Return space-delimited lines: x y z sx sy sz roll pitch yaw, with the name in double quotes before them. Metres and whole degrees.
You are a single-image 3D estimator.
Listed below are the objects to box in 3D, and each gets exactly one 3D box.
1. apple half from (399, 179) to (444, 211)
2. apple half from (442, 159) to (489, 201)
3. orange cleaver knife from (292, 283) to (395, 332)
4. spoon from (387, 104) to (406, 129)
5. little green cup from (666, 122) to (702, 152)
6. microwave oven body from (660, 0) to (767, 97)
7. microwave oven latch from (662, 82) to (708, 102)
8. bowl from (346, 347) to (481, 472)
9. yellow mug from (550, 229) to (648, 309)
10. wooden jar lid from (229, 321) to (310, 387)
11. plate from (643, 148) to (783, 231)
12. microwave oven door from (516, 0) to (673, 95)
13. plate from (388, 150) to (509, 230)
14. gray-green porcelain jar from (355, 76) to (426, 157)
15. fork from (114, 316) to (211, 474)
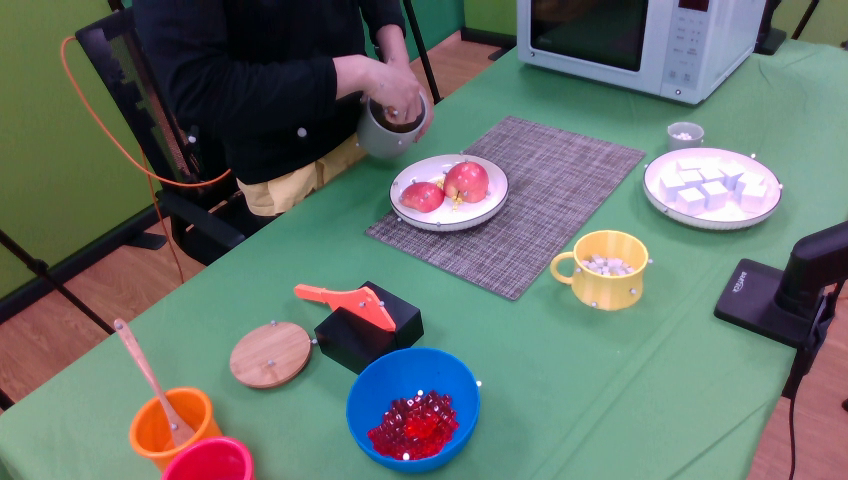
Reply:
"apple half" -0.004 -0.087 1.045 0.081 0.033 0.081 -2 43 2
"apple half" 0.074 -0.110 1.047 0.080 0.053 0.075 21 46 30
"orange cleaver knife" -0.115 0.092 0.835 0.209 0.077 0.012 1 32 48
"spoon" -0.050 -0.214 1.028 0.041 0.193 0.021 44 91 -1
"little green cup" 0.471 -0.184 1.102 0.061 0.039 0.061 -5 41 5
"microwave oven body" 0.473 -0.516 1.313 0.438 0.261 0.327 26 51 34
"microwave oven latch" 0.518 -0.299 1.203 0.078 0.029 0.030 29 53 36
"bowl" -0.008 0.205 0.691 0.151 0.077 0.150 -4 40 4
"yellow mug" 0.245 0.040 0.857 0.130 0.064 0.099 1 42 11
"wooden jar lid" -0.207 0.156 0.820 0.108 0.021 0.108 -3 39 3
"plate" 0.464 -0.080 0.986 0.207 0.039 0.206 -4 41 4
"microwave oven door" 0.344 -0.458 1.256 0.353 0.245 0.039 26 51 33
"plate" 0.043 -0.083 1.042 0.209 0.038 0.208 -4 40 4
"gray-green porcelain jar" -0.063 -0.212 1.071 0.106 0.126 0.105 4 75 -16
"fork" -0.308 0.179 0.708 0.028 0.018 0.207 -30 89 -23
